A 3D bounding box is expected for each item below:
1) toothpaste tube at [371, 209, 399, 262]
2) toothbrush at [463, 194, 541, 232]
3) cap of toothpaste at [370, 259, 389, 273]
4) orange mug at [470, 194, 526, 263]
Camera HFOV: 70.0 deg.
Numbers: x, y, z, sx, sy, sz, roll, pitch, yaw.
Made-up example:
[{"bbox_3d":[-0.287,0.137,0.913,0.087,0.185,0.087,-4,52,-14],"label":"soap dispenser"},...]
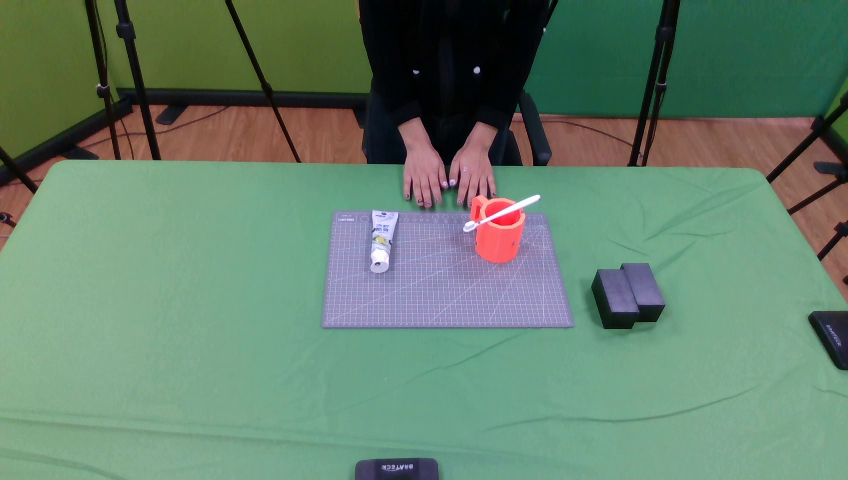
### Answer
[{"bbox_3d":[-0.080,-0.008,1.193,0.055,0.034,0.164,8,42,-6],"label":"toothpaste tube"},{"bbox_3d":[0.149,-0.054,1.131,0.182,0.017,0.014,-23,47,-24],"label":"toothbrush"},{"bbox_3d":[-0.083,0.047,1.132,0.037,0.037,0.011,-7,50,-9],"label":"cap of toothpaste"},{"bbox_3d":[0.136,-0.030,1.180,0.083,0.101,0.125,-26,58,-26],"label":"orange mug"}]
